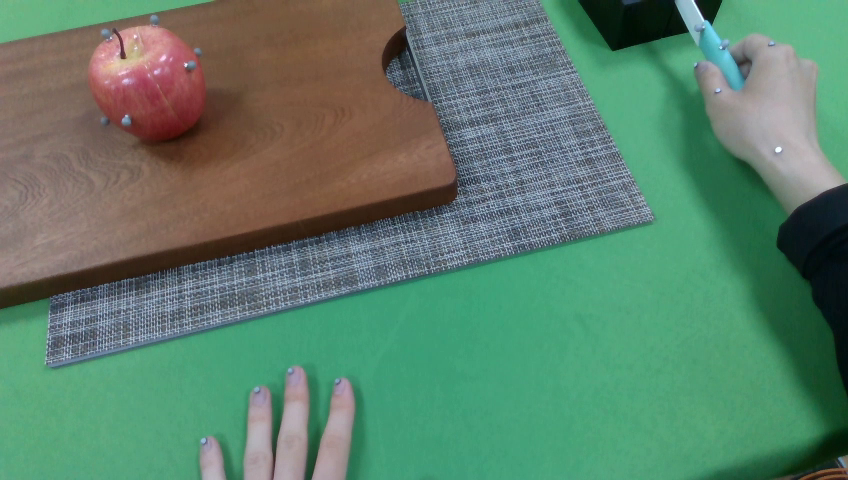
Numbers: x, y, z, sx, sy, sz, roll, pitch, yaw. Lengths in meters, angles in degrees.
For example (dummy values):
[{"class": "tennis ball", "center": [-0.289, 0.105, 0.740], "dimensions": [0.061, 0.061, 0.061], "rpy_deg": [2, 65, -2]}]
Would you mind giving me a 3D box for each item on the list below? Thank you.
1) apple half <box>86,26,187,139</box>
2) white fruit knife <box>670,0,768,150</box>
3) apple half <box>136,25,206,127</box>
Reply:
[{"class": "apple half", "center": [-0.223, -0.114, 0.463], "dimensions": [0.053, 0.075, 0.080], "rpy_deg": [-24, 65, -7]}, {"class": "white fruit knife", "center": [0.232, -0.170, 0.506], "dimensions": [0.016, 0.027, 0.206], "rpy_deg": [-18, 74, -9]}, {"class": "apple half", "center": [-0.187, -0.129, 0.469], "dimensions": [0.033, 0.082, 0.080], "rpy_deg": [-24, 61, -7]}]
